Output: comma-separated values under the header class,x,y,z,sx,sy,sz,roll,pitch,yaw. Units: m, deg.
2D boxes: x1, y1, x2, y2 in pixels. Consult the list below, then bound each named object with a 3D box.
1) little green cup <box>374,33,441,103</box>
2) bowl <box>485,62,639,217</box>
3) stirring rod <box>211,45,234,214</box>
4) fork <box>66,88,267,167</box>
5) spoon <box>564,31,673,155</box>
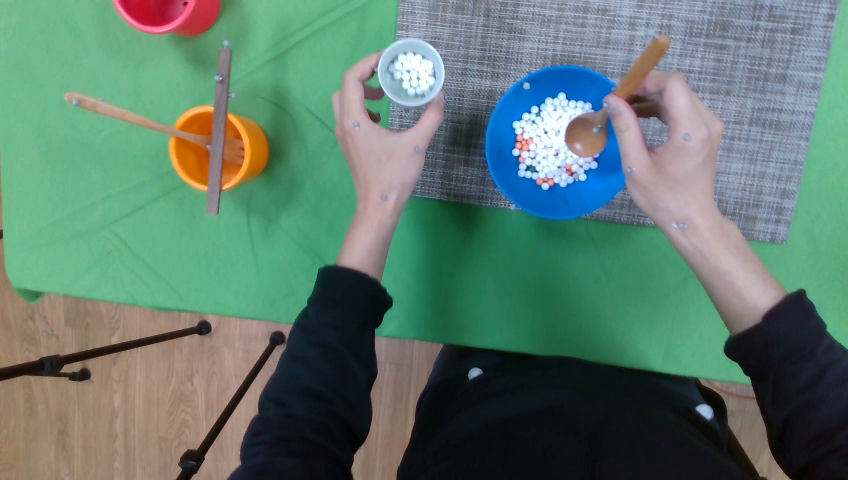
class,x,y,z,sx,sy,sz,roll,pitch,yaw
little green cup,-0.016,-0.160,0.575,0.061,0.038,0.061,0,91,-3
bowl,0.140,-0.103,0.634,0.151,0.076,0.152,1,101,7
stirring rod,-0.213,-0.115,0.640,0.014,0.006,0.176,9,102,6
fork,-0.266,-0.119,0.648,0.209,0.018,0.028,16,109,-40
spoon,0.157,-0.114,0.502,0.041,0.194,0.021,43,80,5
